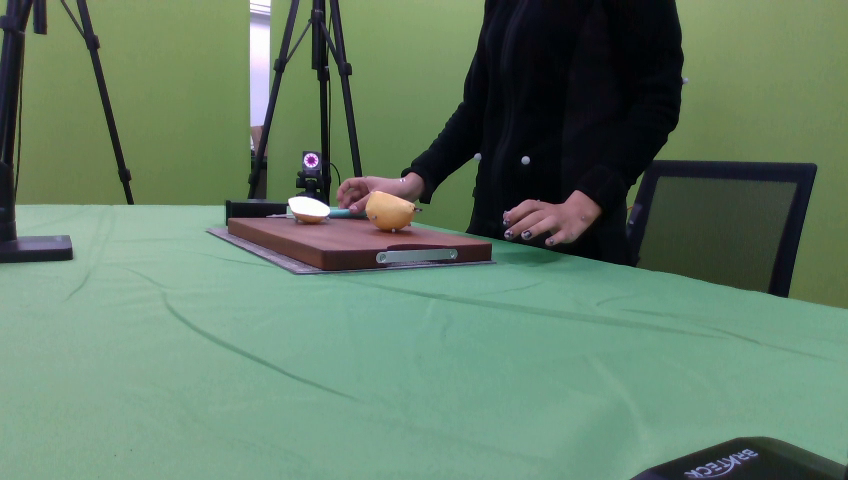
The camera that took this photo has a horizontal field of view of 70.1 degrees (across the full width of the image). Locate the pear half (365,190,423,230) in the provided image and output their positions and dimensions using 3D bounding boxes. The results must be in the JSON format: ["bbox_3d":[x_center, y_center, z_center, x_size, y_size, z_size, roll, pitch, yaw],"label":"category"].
[{"bbox_3d":[-0.045,-0.042,0.955,0.077,0.056,0.109,20,-9,-41],"label":"pear half"}]

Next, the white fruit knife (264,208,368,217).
[{"bbox_3d":[-0.192,-0.050,1.129,0.208,0.016,0.027,-4,-6,-25],"label":"white fruit knife"}]

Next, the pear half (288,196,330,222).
[{"bbox_3d":[-0.202,-0.048,1.041,0.070,0.031,0.088,20,25,14],"label":"pear half"}]
